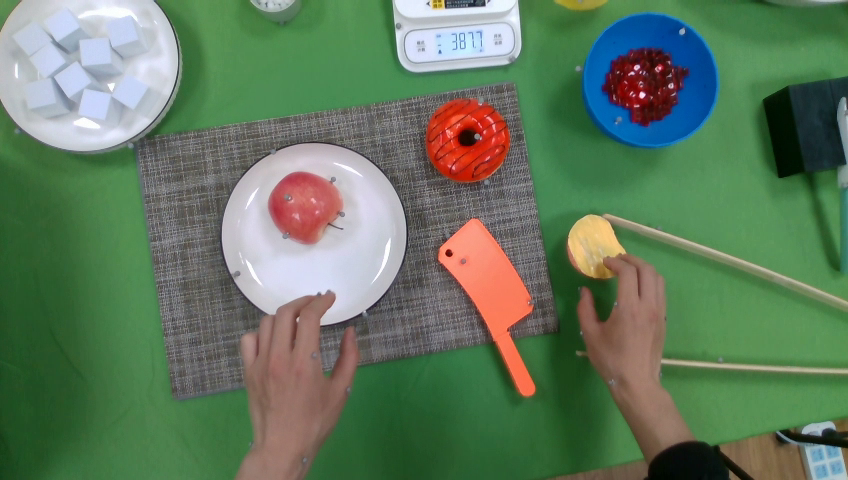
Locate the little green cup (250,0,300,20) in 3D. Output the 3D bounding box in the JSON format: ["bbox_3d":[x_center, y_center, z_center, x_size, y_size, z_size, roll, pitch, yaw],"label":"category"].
[{"bbox_3d":[-0.174,-0.289,0.706,0.061,0.038,0.061,0,86,-2],"label":"little green cup"}]

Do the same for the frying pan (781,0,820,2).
[{"bbox_3d":[0.509,-0.336,0.702,0.307,0.103,0.486,-36,81,-3],"label":"frying pan"}]

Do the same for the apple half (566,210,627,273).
[{"bbox_3d":[0.192,0.007,0.702,0.082,0.033,0.080,9,65,-20],"label":"apple half"}]

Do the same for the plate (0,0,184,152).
[{"bbox_3d":[-0.377,-0.200,0.693,0.208,0.039,0.207,0,86,-2],"label":"plate"}]

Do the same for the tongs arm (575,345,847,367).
[{"bbox_3d":[0.369,0.122,0.705,0.385,0.026,0.050,6,83,-3],"label":"tongs arm"}]

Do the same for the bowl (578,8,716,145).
[{"bbox_3d":[0.243,-0.177,0.696,0.151,0.077,0.151,0,87,-2],"label":"bowl"}]

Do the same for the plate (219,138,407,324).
[{"bbox_3d":[-0.123,-0.010,0.688,0.209,0.038,0.208,0,87,-2],"label":"plate"}]

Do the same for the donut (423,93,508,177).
[{"bbox_3d":[0.047,-0.121,0.698,0.099,0.048,0.099,0,87,0],"label":"donut"}]

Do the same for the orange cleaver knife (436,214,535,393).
[{"bbox_3d":[0.087,0.071,0.700,0.077,0.012,0.211,-28,87,-10],"label":"orange cleaver knife"}]

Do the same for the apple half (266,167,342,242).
[{"bbox_3d":[-0.136,-0.043,0.674,0.074,0.053,0.081,43,86,4],"label":"apple half"}]

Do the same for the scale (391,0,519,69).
[{"bbox_3d":[0.033,-0.308,0.719,0.149,0.031,0.200,-5,87,-2],"label":"scale"}]

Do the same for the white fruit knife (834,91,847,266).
[{"bbox_3d":[0.484,-0.067,0.698,0.016,0.027,0.208,-12,102,-2],"label":"white fruit knife"}]

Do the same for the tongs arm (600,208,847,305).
[{"bbox_3d":[0.386,0.037,0.713,0.388,0.028,0.028,21,79,-2],"label":"tongs arm"}]

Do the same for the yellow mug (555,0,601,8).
[{"bbox_3d":[0.177,-0.346,0.709,0.100,0.064,0.131,-42,88,-3],"label":"yellow mug"}]
